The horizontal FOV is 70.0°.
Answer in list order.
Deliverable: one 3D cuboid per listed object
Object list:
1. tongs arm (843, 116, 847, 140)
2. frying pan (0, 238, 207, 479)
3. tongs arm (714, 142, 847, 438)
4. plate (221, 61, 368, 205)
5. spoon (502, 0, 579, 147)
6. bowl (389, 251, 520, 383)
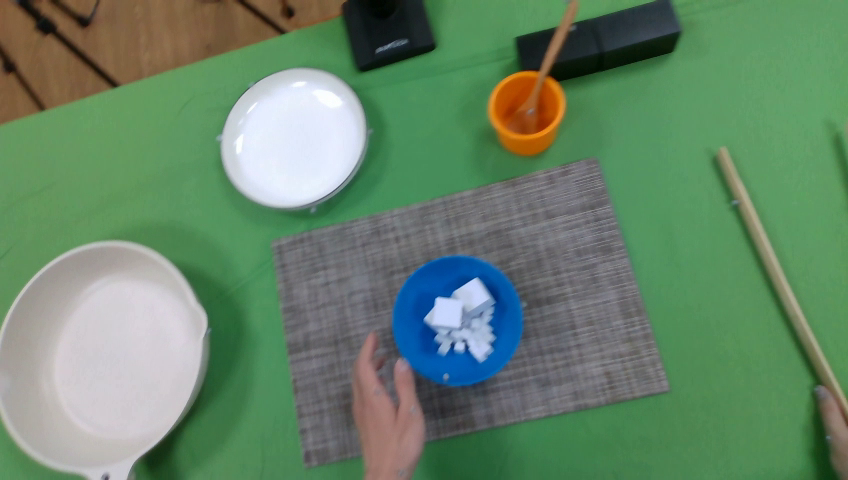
[{"bbox_3d":[0.498,0.042,0.682,0.050,0.027,0.383,-7,77,9],"label":"tongs arm"},{"bbox_3d":[-0.390,0.237,0.750,0.307,0.103,0.483,-16,66,6],"label":"frying pan"},{"bbox_3d":[0.421,0.059,0.695,0.028,0.028,0.385,-19,75,2],"label":"tongs arm"},{"bbox_3d":[-0.175,-0.145,0.837,0.207,0.039,0.206,-2,77,9],"label":"plate"},{"bbox_3d":[0.144,-0.200,0.739,0.041,0.195,0.021,36,41,19],"label":"spoon"},{"bbox_3d":[0.040,0.094,0.720,0.151,0.077,0.150,-2,77,9],"label":"bowl"}]
